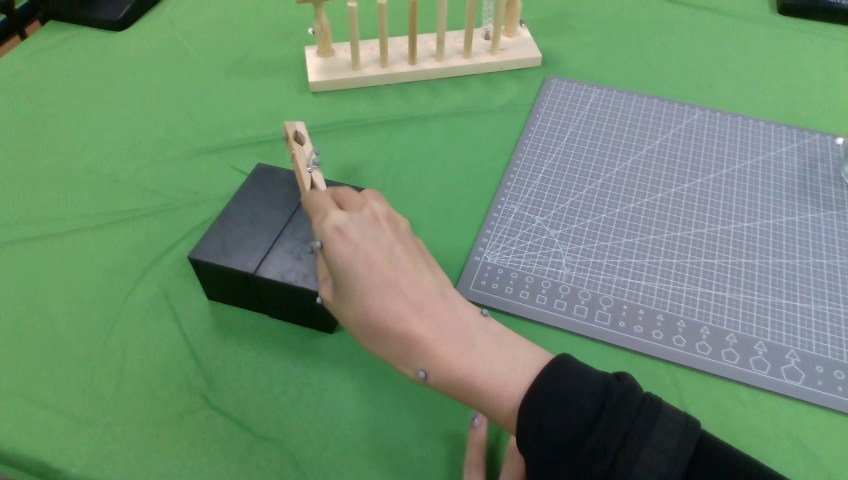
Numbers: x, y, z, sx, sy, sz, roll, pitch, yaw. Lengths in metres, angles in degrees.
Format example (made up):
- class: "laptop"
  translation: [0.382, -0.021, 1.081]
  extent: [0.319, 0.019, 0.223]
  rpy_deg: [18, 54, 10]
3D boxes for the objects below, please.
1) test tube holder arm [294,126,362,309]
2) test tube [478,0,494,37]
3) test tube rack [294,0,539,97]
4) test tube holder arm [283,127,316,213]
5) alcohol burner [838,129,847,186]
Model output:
- class: "test tube holder arm"
  translation: [-0.073, -0.023, 0.437]
  extent: [0.013, 0.015, 0.176]
  rpy_deg: [-12, 51, -19]
- class: "test tube"
  translation: [0.064, -0.273, 0.602]
  extent: [0.017, 0.151, 0.017]
  rpy_deg: [-1, 46, 2]
- class: "test tube rack"
  translation: [-0.003, -0.215, 0.618]
  extent: [0.243, 0.086, 0.066]
  rpy_deg: [-9, 50, -7]
- class: "test tube holder arm"
  translation: [-0.094, -0.055, 0.461]
  extent: [0.010, 0.015, 0.087]
  rpy_deg: [-12, 51, -19]
- class: "alcohol burner"
  translation: [0.392, -0.090, 0.488]
  extent: [0.078, 0.120, 0.077]
  rpy_deg: [1, 48, 0]
